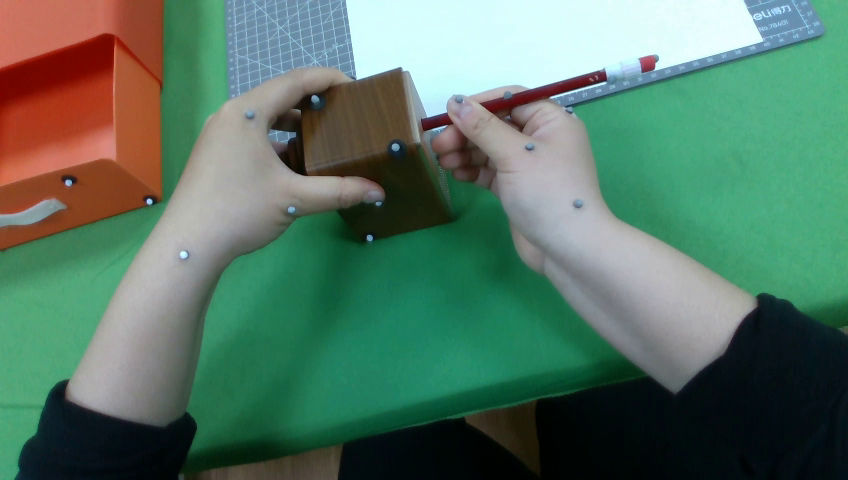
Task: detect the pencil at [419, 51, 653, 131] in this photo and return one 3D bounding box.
[{"bbox_3d":[0.040,-0.081,0.366,0.194,0.012,0.012,-15,65,9],"label":"pencil"}]

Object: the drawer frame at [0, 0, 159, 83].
[{"bbox_3d":[-0.352,-0.212,0.558,0.201,0.083,0.211,-16,65,7],"label":"drawer frame"}]

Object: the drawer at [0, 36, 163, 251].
[{"bbox_3d":[-0.327,-0.107,0.511,0.194,0.074,0.210,-16,65,7],"label":"drawer"}]

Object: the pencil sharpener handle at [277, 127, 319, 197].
[{"bbox_3d":[-0.084,-0.046,0.398,0.030,0.068,0.035,-14,71,8],"label":"pencil sharpener handle"}]

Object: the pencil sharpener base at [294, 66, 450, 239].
[{"bbox_3d":[-0.032,-0.052,0.401,0.076,0.108,0.061,-14,65,8],"label":"pencil sharpener base"}]
